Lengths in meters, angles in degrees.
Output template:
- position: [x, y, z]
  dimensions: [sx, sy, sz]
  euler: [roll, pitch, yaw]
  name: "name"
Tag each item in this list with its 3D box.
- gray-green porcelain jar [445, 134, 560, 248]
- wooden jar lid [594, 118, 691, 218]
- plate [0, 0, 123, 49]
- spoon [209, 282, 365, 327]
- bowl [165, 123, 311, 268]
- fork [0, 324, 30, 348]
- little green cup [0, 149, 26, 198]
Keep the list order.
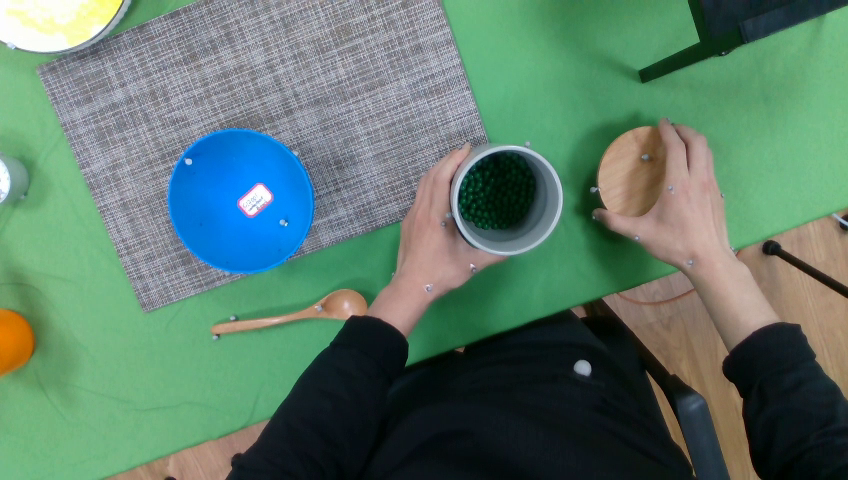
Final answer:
- position: [0.075, -0.056, 0.628]
  dimensions: [0.106, 0.126, 0.106]
  euler: [0, 102, -1]
  name: "gray-green porcelain jar"
- position: [0.236, -0.078, 0.661]
  dimensions: [0.108, 0.020, 0.109]
  euler: [-1, 103, -5]
  name: "wooden jar lid"
- position: [-0.408, -0.309, 0.643]
  dimensions: [0.209, 0.038, 0.209]
  euler: [0, 100, 1]
  name: "plate"
- position: [-0.163, 0.081, 0.712]
  dimensions: [0.194, 0.021, 0.042]
  euler: [-12, 118, 3]
  name: "spoon"
- position: [-0.190, -0.050, 0.658]
  dimensions: [0.151, 0.076, 0.152]
  euler: [0, 100, 2]
  name: "bowl"
- position: [-0.556, 0.123, 0.665]
  dimensions: [0.208, 0.018, 0.028]
  euler: [-9, 105, -41]
  name: "fork"
- position: [-0.488, -0.075, 0.684]
  dimensions: [0.061, 0.038, 0.062]
  euler: [0, 100, 2]
  name: "little green cup"
